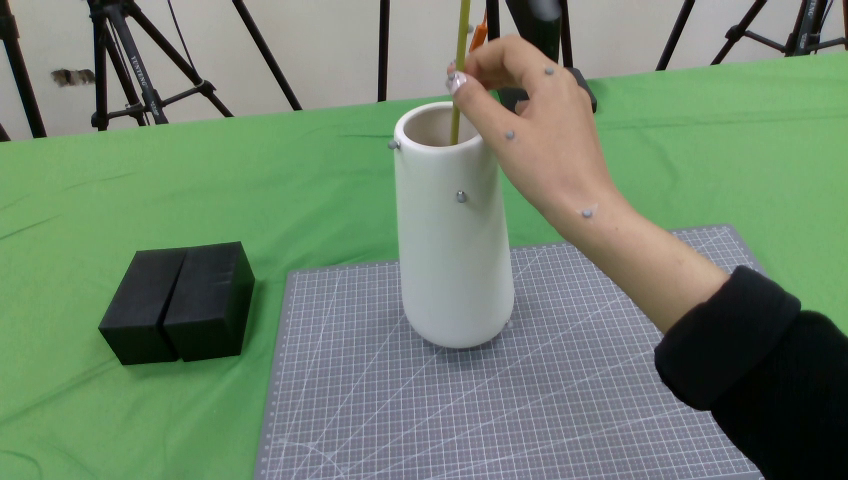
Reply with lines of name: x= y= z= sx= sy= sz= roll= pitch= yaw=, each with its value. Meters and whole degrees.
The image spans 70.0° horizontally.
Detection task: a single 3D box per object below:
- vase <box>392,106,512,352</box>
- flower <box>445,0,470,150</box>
vase: x=0.020 y=-0.003 z=0.483 sx=0.098 sy=0.202 sz=0.097 roll=-5 pitch=40 yaw=4
flower: x=0.020 y=-0.075 z=0.407 sx=0.044 sy=0.364 sz=0.038 roll=-9 pitch=42 yaw=-16
